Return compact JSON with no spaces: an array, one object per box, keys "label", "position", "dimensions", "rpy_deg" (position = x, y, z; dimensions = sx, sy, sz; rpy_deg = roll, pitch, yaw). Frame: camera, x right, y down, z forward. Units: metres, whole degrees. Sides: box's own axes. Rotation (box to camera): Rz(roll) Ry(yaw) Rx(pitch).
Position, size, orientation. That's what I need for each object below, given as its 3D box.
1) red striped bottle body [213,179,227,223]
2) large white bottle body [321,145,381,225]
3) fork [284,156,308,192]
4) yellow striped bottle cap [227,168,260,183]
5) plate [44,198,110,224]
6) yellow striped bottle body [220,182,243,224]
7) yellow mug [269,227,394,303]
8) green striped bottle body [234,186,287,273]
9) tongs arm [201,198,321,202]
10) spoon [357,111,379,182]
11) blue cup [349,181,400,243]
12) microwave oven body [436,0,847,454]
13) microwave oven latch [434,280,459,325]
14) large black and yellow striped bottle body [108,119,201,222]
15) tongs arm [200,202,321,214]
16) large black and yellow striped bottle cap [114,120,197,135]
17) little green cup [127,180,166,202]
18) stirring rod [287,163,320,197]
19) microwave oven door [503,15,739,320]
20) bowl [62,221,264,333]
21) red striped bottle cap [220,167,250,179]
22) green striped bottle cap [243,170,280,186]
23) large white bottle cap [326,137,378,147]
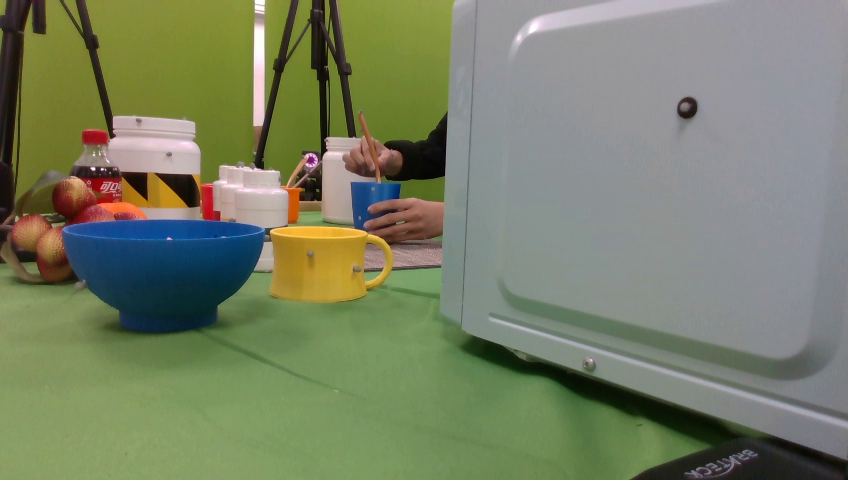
[{"label":"red striped bottle body","position":[-0.284,-0.048,0.910],"dimensions":[0.063,0.119,0.063],"rpy_deg":[3,12,0]},{"label":"large white bottle body","position":[-0.162,-0.131,1.341],"dimensions":[0.131,0.184,0.130],"rpy_deg":[2,8,0]},{"label":"fork","position":[-0.295,-0.116,1.323],"dimensions":[0.028,0.019,0.207],"rpy_deg":[1,50,21]},{"label":"yellow striped bottle cap","position":[-0.243,-0.087,0.818],"dimensions":[0.044,0.018,0.044],"rpy_deg":[3,6,0]},{"label":"plate","position":[-0.617,-0.056,1.179],"dimensions":[0.209,0.038,0.209],"rpy_deg":[3,7,0]},{"label":"yellow striped bottle body","position":[-0.246,-0.036,0.825],"dimensions":[0.063,0.120,0.063],"rpy_deg":[3,8,0]},{"label":"yellow mug","position":[-0.094,0.023,0.629],"dimensions":[0.131,0.064,0.099],"rpy_deg":[0,7,-22]},{"label":"green striped bottle body","position":[-0.200,-0.023,0.743],"dimensions":[0.063,0.119,0.063],"rpy_deg":[2,7,0]},{"label":"tongs arm","position":[-0.433,-0.090,1.508],"dimensions":[0.390,0.028,0.028],"rpy_deg":[-1,2,-29]},{"label":"spoon","position":[-0.085,-0.127,1.023],"dimensions":[0.022,0.193,0.041],"rpy_deg":[-11,-5,-11]},{"label":"blue cup","position":[-0.083,-0.047,1.012],"dimensions":[0.093,0.100,0.092],"rpy_deg":[1,6,0]},{"label":"microwave oven body","position":[0.279,-0.040,0.465],"dimensions":[0.444,0.260,0.324],"rpy_deg":[-3,9,-41]},{"label":"microwave oven latch","position":[0.044,0.045,0.470],"dimensions":[0.079,0.029,0.030],"rpy_deg":[-2,8,-39]},{"label":"large black and yellow striped bottle body","position":[-0.412,-0.088,0.930],"dimensions":[0.131,0.184,0.130],"rpy_deg":[3,7,0]},{"label":"tongs arm","position":[-0.378,-0.079,1.440],"dimensions":[0.387,0.026,0.050],"rpy_deg":[-4,8,-44]},{"label":"large black and yellow striped bottle cap","position":[-0.407,-0.171,0.920],"dimensions":[0.115,0.019,0.115],"rpy_deg":[2,9,0]},{"label":"little green cup","position":[-0.485,-0.086,1.061],"dimensions":[0.061,0.038,0.061],"rpy_deg":[1,7,0]},{"label":"stirring rod","position":[-0.283,-0.107,1.298],"dimensions":[0.014,0.006,0.176],"rpy_deg":[10,53,51]},{"label":"microwave oven door","position":[0.218,-0.065,0.600],"dimensions":[0.358,0.243,0.039],"rpy_deg":[-4,10,-41]},{"label":"bowl","position":[-0.209,0.029,0.496],"dimensions":[0.151,0.077,0.151],"rpy_deg":[2,6,0]},{"label":"red striped bottle cap","position":[-0.281,-0.100,0.901],"dimensions":[0.044,0.017,0.044],"rpy_deg":[-1,5,0]},{"label":"green striped bottle cap","position":[-0.198,-0.074,0.736],"dimensions":[0.044,0.020,0.044],"rpy_deg":[2,7,0]},{"label":"large white bottle cap","position":[-0.158,-0.214,1.329],"dimensions":[0.115,0.018,0.115],"rpy_deg":[2,8,0]}]
